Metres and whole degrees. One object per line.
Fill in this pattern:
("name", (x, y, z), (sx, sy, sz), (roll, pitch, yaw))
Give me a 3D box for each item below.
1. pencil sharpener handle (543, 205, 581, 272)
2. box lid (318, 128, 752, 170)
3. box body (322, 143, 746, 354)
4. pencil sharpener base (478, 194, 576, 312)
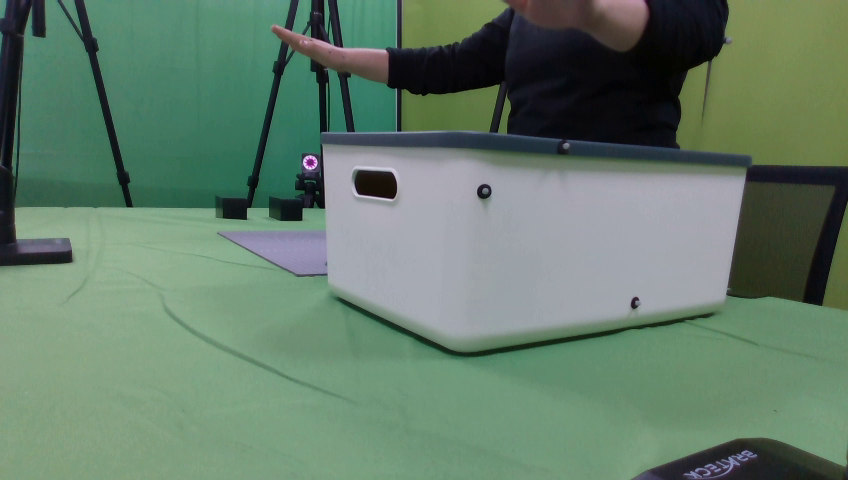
("pencil sharpener handle", (0.146, -0.001, 0.618), (0.031, 0.067, 0.036), (0, -3, -36))
("box lid", (0.107, -0.085, 0.594), (0.373, 0.015, 0.262), (-1, 8, -34))
("box body", (0.106, -0.011, 0.603), (0.366, 0.160, 0.253), (-2, 8, -34))
("pencil sharpener base", (0.102, 0.011, 0.591), (0.077, 0.107, 0.061), (0, 6, -36))
